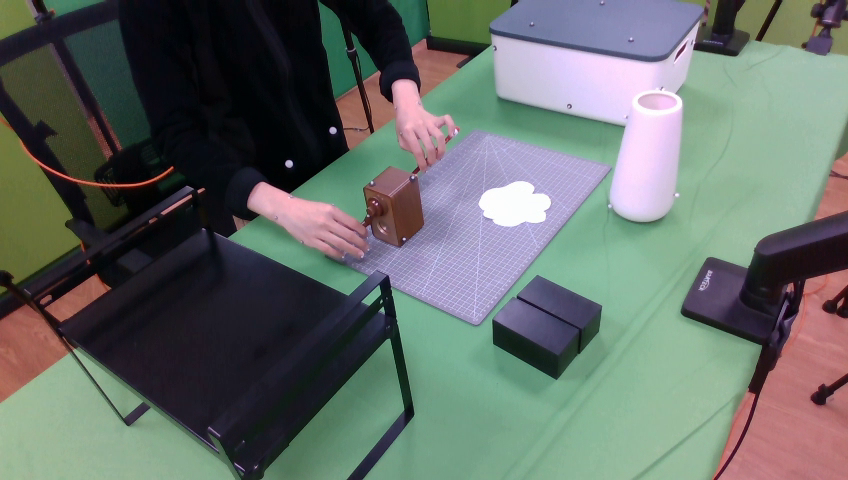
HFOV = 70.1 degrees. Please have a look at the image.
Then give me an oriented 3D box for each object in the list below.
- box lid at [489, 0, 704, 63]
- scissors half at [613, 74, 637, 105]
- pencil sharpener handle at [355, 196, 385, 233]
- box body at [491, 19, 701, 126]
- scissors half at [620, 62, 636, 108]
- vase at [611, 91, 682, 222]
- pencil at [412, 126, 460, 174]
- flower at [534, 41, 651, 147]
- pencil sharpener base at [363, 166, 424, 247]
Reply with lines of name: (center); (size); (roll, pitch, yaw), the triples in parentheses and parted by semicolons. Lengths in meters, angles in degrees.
box lid: (0.345, -0.441, 1.217); (0.369, 0.015, 0.264); (21, 49, 29)
scissors half: (0.427, -0.330, 1.306); (0.013, 0.040, 0.174); (31, 31, -14)
pencil sharpener handle: (-0.087, -0.037, 0.938); (0.036, 0.067, 0.031); (42, 55, 6)
box body: (0.352, -0.384, 1.268); (0.361, 0.161, 0.255); (21, 48, 29)
scissors half: (0.434, -0.340, 1.298); (0.013, 0.040, 0.174); (25, 42, -12)
vase: (0.348, -0.125, 0.935); (0.098, 0.201, 0.097); (-3, 40, 3)
pencil: (0.009, -0.139, 1.019); (0.012, 0.012, 0.194); (19, 49, 27)
flower: (0.364, -0.319, 1.318); (0.038, 0.044, 0.359); (-4, 48, -50)
pencil sharpener base: (-0.049, -0.052, 0.973); (0.061, 0.107, 0.077); (22, 49, 30)
